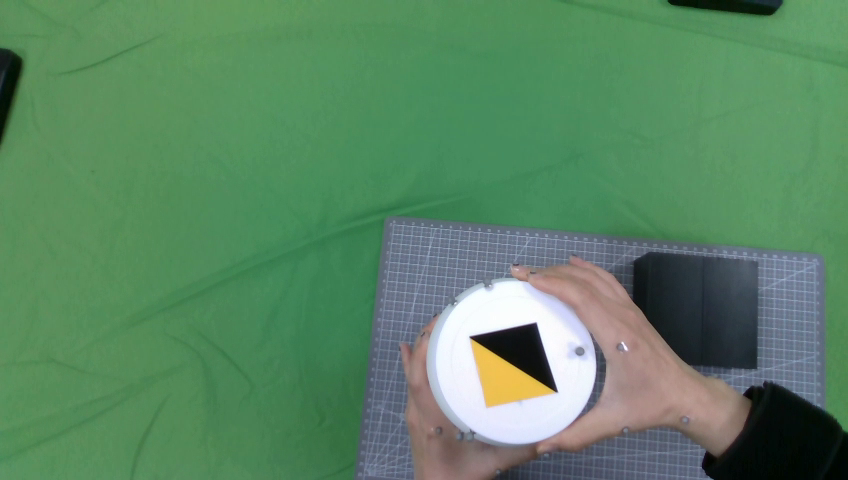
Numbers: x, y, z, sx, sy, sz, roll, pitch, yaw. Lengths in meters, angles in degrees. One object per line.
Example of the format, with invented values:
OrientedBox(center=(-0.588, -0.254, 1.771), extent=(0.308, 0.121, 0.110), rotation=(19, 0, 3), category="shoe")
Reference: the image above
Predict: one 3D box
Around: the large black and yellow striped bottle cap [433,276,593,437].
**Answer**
OrientedBox(center=(0.063, 0.083, 0.436), extent=(0.115, 0.019, 0.114), rotation=(0, 81, 3), category="large black and yellow striped bottle cap")

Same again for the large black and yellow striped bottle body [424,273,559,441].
OrientedBox(center=(0.066, 0.098, 0.519), extent=(0.131, 0.184, 0.130), rotation=(0, 80, 2), category="large black and yellow striped bottle body")
